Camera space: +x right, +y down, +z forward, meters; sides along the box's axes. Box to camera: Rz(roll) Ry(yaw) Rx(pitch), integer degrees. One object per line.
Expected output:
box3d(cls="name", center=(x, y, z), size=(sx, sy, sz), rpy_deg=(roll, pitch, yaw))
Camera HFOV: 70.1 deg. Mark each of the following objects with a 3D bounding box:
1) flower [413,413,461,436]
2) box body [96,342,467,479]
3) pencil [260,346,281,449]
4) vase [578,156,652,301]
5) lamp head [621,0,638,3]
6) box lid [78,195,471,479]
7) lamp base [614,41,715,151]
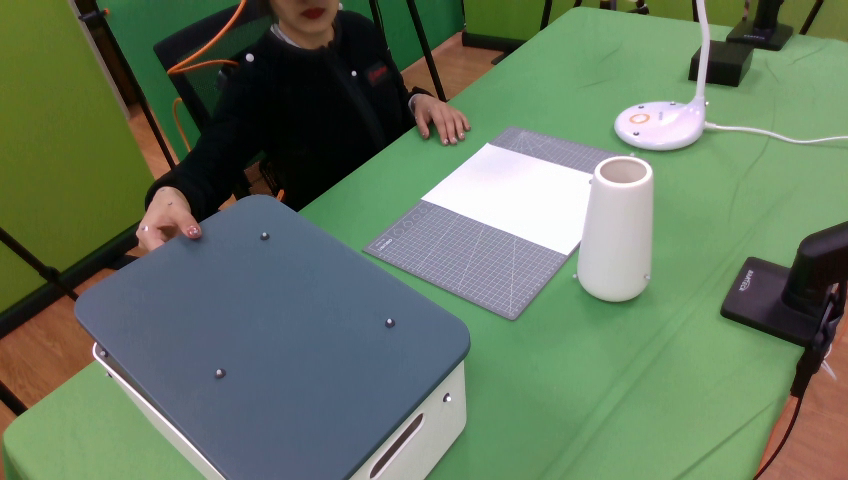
box3d(cls="flower", center=(-0.120, 0.203, 0.775), size=(0.359, 0.038, 0.044), rpy_deg=(2, 77, 25))
box3d(cls="box body", center=(-0.155, 0.169, 0.707), size=(0.361, 0.161, 0.255), rpy_deg=(23, 49, 33))
box3d(cls="pencil", center=(-0.206, 0.201, 0.800), size=(0.012, 0.012, 0.192), rpy_deg=(-18, 34, -10))
box3d(cls="vase", center=(0.261, -0.011, 0.812), size=(0.098, 0.201, 0.097), rpy_deg=(-4, 40, 4))
box3d(cls="lamp head", center=(0.319, -0.453, 0.962), size=(0.113, 0.123, 0.112), rpy_deg=(20, 33, -13))
box3d(cls="box lid", center=(-0.163, 0.086, 0.642), size=(0.368, 0.015, 0.264), rpy_deg=(31, 52, 28))
box3d(cls="lamp base", center=(0.449, -0.277, 1.106), size=(0.179, 0.181, 0.160), rpy_deg=(1, 41, 9))
